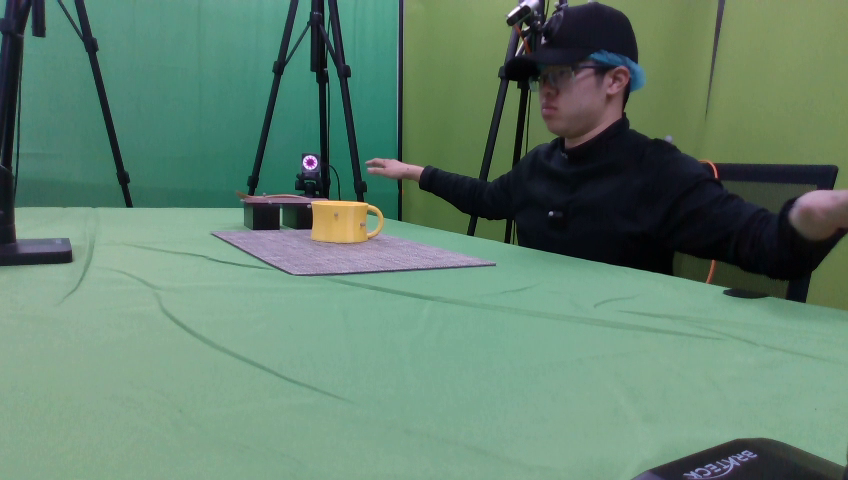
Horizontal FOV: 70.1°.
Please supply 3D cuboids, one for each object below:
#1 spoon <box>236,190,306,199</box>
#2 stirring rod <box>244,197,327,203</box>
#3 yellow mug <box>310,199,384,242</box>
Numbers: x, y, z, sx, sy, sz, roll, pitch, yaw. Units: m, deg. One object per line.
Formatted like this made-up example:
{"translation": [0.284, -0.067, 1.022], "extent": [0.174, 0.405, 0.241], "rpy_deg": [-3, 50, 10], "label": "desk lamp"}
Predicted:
{"translation": [-0.290, -0.088, 1.248], "extent": [0.195, 0.021, 0.041], "rpy_deg": [0, 5, -32], "label": "spoon"}
{"translation": [-0.271, -0.079, 1.201], "extent": [0.177, 0.006, 0.014], "rpy_deg": [-2, 46, -36], "label": "stirring rod"}
{"translation": [-0.132, -0.035, 1.054], "extent": [0.131, 0.064, 0.099], "rpy_deg": [0, 8, -23], "label": "yellow mug"}
